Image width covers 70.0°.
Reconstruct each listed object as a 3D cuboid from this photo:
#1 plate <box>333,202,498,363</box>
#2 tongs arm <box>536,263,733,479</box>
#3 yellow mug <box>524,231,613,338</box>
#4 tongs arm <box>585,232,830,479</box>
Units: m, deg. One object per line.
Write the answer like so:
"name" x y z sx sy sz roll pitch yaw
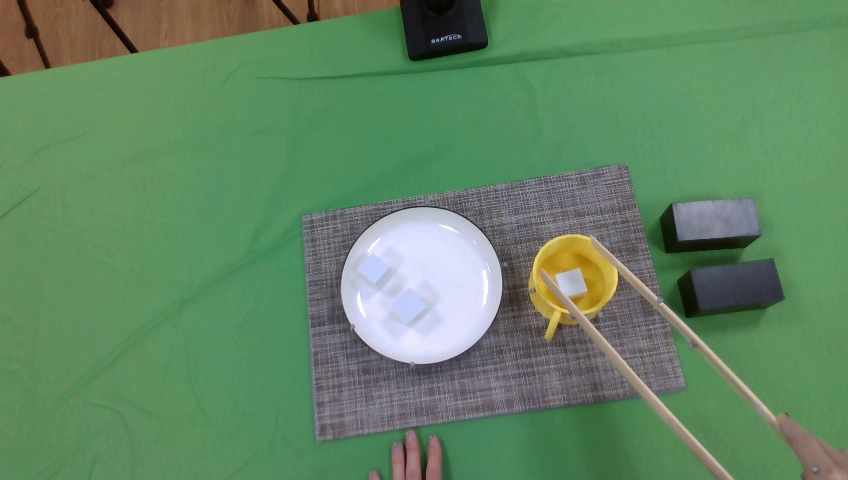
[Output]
"plate" -0.011 0.055 0.774 0.207 0.039 0.206 -1 72 4
"tongs arm" 0.222 0.145 0.574 0.028 0.028 0.383 -31 48 -8
"yellow mug" 0.169 0.060 0.742 0.099 0.064 0.130 22 75 11
"tongs arm" 0.257 0.123 0.576 0.051 0.027 0.380 -32 48 -5
